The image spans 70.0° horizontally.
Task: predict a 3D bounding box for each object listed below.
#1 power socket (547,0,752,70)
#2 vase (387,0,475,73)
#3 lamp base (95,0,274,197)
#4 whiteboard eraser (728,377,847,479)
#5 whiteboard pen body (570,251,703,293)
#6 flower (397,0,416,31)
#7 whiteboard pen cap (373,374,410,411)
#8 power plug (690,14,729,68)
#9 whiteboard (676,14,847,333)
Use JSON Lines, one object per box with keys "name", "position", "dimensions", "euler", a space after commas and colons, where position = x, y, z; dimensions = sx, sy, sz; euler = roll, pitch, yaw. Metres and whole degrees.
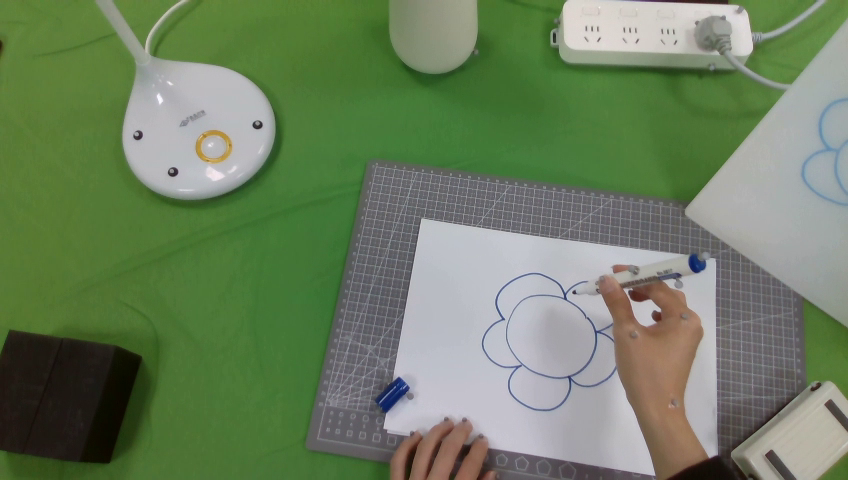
{"name": "power socket", "position": [0.256, -0.233, 0.686], "dimensions": [0.227, 0.033, 0.072], "euler": [3, 71, 1]}
{"name": "vase", "position": [0.005, -0.260, 0.610], "dimensions": [0.098, 0.201, 0.097], "euler": [-1, 69, 2]}
{"name": "lamp base", "position": [-0.253, -0.154, 0.583], "dimensions": [0.178, 0.181, 0.160], "euler": [40, 75, 17]}
{"name": "whiteboard eraser", "position": [0.325, 0.173, 0.530], "dimensions": [0.112, 0.042, 0.055], "euler": [-34, 72, -11]}
{"name": "whiteboard pen body", "position": [0.173, 0.031, 0.513], "dimensions": [0.017, 0.140, 0.017], "euler": [8, 72, -28]}
{"name": "flower", "position": [0.022, -0.278, 0.529], "dimensions": [0.044, 0.361, 0.038], "euler": [-34, 90, -20]}
{"name": "whiteboard pen cap", "position": [-0.029, 0.140, 0.558], "dimensions": [0.018, 0.018, 0.033], "euler": [43, 74, 15]}
{"name": "power plug", "position": [0.304, -0.210, 0.654], "dimensions": [0.035, 0.053, 0.072], "euler": [13, 77, 5]}
{"name": "whiteboard", "position": [0.417, -0.089, 0.521], "dimensions": [0.216, 0.307, 0.143], "euler": [39, 54, 14]}
